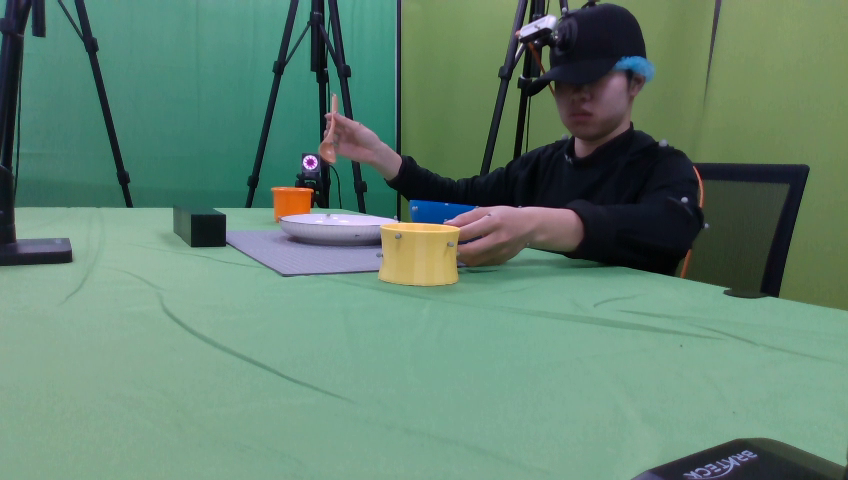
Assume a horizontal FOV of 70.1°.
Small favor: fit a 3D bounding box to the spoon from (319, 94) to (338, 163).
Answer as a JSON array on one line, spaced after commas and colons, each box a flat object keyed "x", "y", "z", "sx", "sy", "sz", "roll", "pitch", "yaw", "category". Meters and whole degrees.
[{"x": -0.194, "y": -0.238, "z": 1.274, "sx": 0.042, "sy": 0.193, "sz": 0.021, "roll": 28, "pitch": -38, "yaw": -34, "category": "spoon"}]

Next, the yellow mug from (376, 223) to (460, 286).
[{"x": -0.002, "y": 0.014, "z": 0.754, "sx": 0.099, "sy": 0.064, "sz": 0.131, "roll": 5, "pitch": 7, "yaw": 20, "category": "yellow mug"}]

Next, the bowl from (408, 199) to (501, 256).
[{"x": 0.045, "y": -0.019, "z": 0.968, "sx": 0.151, "sy": 0.077, "sz": 0.151, "roll": 6, "pitch": 5, "yaw": 0, "category": "bowl"}]

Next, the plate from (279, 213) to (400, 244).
[{"x": -0.147, "y": -0.020, "z": 1.060, "sx": 0.209, "sy": 0.038, "sz": 0.209, "roll": 3, "pitch": 7, "yaw": 0, "category": "plate"}]
